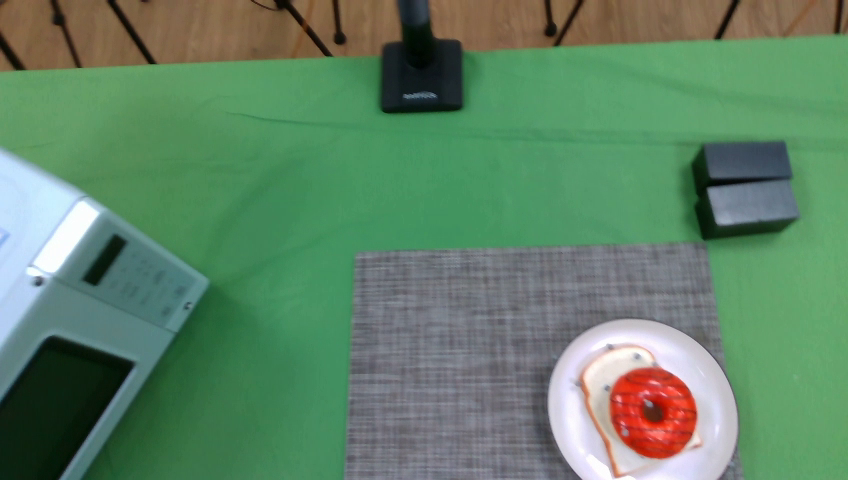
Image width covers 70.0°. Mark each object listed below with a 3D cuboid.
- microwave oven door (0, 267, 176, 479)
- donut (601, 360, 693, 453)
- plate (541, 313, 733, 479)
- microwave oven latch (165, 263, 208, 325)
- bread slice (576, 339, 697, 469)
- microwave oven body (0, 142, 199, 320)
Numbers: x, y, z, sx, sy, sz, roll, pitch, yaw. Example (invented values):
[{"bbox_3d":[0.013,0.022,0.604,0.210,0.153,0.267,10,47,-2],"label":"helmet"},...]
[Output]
[{"bbox_3d":[-0.422,0.213,0.615,0.039,0.245,0.354,25,74,14],"label":"microwave oven door"},{"bbox_3d":[0.243,0.181,0.662,0.099,0.048,0.098,0,71,1],"label":"donut"},{"bbox_3d":[0.237,0.188,0.690,0.207,0.039,0.206,-1,70,4],"label":"plate"},{"bbox_3d":[-0.307,0.066,0.767,0.030,0.030,0.079,28,76,14],"label":"microwave oven latch"},{"bbox_3d":[0.235,0.181,0.695,0.105,0.019,0.130,-21,71,-4],"label":"bread slice"},{"bbox_3d":[-0.530,0.119,0.664,0.324,0.262,0.440,26,75,13],"label":"microwave oven body"}]
